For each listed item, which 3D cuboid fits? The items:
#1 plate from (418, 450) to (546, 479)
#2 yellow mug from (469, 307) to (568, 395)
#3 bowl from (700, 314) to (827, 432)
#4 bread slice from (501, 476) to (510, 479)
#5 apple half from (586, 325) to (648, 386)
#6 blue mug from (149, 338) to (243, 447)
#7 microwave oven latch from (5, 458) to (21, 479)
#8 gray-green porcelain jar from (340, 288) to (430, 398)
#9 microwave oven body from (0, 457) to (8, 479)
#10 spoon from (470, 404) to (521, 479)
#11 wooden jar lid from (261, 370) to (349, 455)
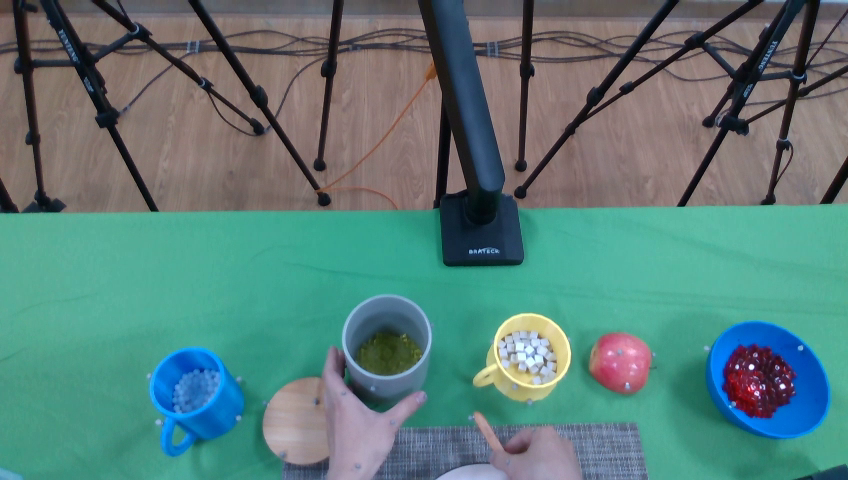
[{"bbox_3d":[0.068,0.350,0.689,0.208,0.039,0.206,2,61,-3],"label":"plate"},{"bbox_3d":[0.118,0.151,0.790,0.131,0.064,0.099,-22,65,-14],"label":"yellow mug"},{"bbox_3d":[0.424,0.179,0.787,0.151,0.077,0.150,2,62,-2],"label":"bowl"},{"bbox_3d":[0.072,0.350,0.693,0.107,0.018,0.133,-16,61,-12],"label":"bread slice"},{"bbox_3d":[0.260,0.148,0.808,0.074,0.054,0.080,18,62,9],"label":"apple half"},{"bbox_3d":[-0.276,0.188,0.720,0.082,0.106,0.116,18,61,6],"label":"blue mug"},{"bbox_3d":[-0.475,0.284,0.670,0.030,0.030,0.078,3,62,-2],"label":"microwave oven latch"},{"bbox_3d":[-0.048,0.133,0.754,0.106,0.127,0.105,2,61,-3],"label":"gray-green porcelain jar"},{"bbox_3d":[-0.613,0.392,0.492,0.326,0.262,0.437,0,62,-4],"label":"microwave oven body"},{"bbox_3d":[0.107,0.279,0.713,0.041,0.022,0.192,-25,76,-14],"label":"spoon"},{"bbox_3d":[-0.147,0.217,0.759,0.108,0.021,0.107,1,57,-2],"label":"wooden jar lid"}]
